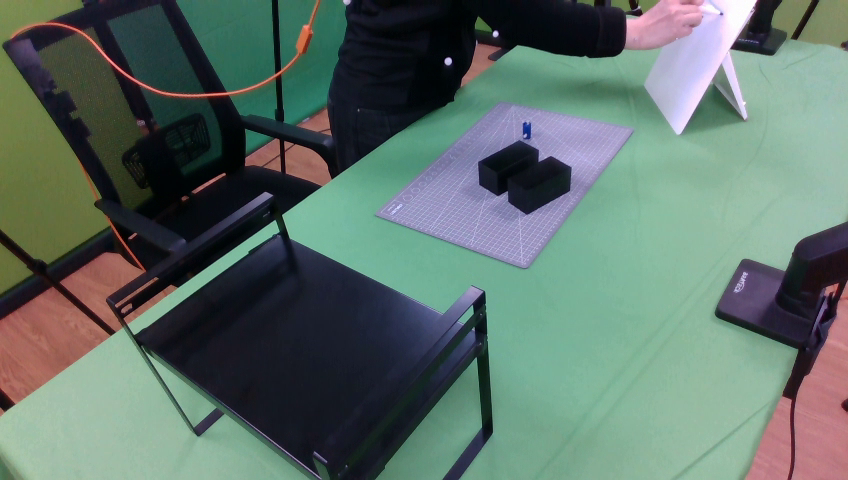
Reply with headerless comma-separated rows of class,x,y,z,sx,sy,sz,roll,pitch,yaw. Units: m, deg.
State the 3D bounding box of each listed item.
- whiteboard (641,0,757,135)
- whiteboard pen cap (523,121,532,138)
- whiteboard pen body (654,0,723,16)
whiteboard,0.576,-0.366,1.147,0.144,0.305,0.216,10,39,-9
whiteboard pen cap,0.204,-0.216,1.185,0.018,0.033,0.018,-6,41,6
whiteboard pen body,0.459,-0.411,1.055,0.141,0.017,0.017,11,40,-9
